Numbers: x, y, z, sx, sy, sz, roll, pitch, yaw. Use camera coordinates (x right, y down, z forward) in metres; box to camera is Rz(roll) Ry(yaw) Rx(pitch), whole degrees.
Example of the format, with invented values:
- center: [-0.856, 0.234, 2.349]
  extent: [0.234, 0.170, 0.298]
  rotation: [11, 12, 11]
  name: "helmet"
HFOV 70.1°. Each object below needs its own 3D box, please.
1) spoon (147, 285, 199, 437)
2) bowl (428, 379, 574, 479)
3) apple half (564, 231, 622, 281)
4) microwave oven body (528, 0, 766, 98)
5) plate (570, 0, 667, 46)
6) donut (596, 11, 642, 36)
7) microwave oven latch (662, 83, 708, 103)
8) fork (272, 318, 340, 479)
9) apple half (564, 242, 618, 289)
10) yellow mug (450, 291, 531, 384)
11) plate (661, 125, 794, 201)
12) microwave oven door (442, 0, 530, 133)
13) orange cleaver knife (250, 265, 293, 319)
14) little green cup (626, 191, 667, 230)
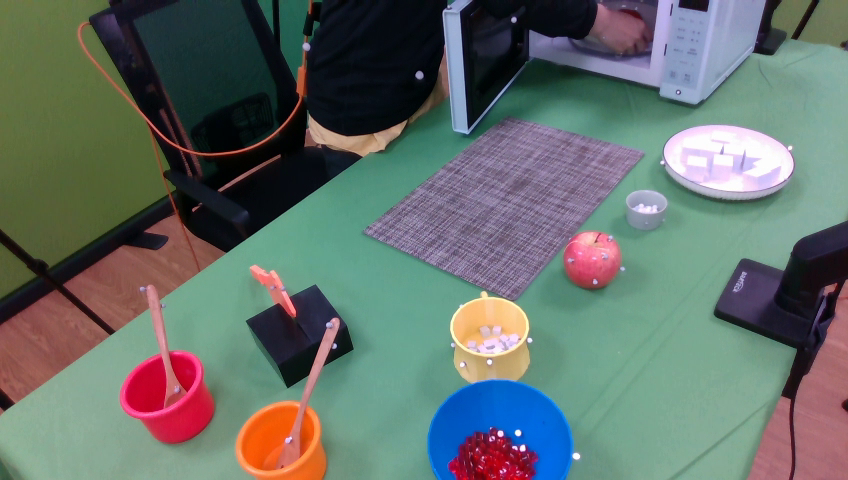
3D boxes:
- center: [-0.319, 0.148, 0.754]
  extent: [0.042, 0.021, 0.193]
  rotation: [-14, 85, -12]
  name: "spoon"
- center: [0.082, 0.232, 0.644]
  extent: [0.151, 0.077, 0.150]
  rotation: [-4, 40, 4]
  name: "bowl"
- center: [0.248, 0.021, 0.874]
  extent: [0.080, 0.075, 0.053]
  rotation: [13, 40, 29]
  name: "apple half"
- center: [0.472, -0.513, 1.317]
  extent: [0.438, 0.261, 0.327]
  rotation: [26, 51, 34]
  name: "microwave oven body"
- center: [0.436, -0.486, 1.365]
  extent: [0.209, 0.038, 0.208]
  rotation: [-6, 40, 6]
  name: "plate"
- center: [0.434, -0.479, 1.346]
  extent: [0.099, 0.048, 0.098]
  rotation: [-7, 35, 5]
  name: "donut"
- center: [0.519, -0.297, 1.204]
  extent: [0.078, 0.029, 0.030]
  rotation: [29, 53, 36]
  name: "microwave oven latch"
- center: [-0.131, 0.186, 0.676]
  extent: [0.028, 0.019, 0.207]
  rotation: [17, 90, 28]
  name: "fork"
- center: [0.229, 0.044, 0.848]
  extent: [0.081, 0.081, 0.033]
  rotation: [16, 41, 26]
  name: "apple half"
- center: [0.085, 0.120, 0.786]
  extent: [0.100, 0.064, 0.130]
  rotation: [-7, 39, 1]
  name: "yellow mug"
- center: [0.514, -0.128, 1.035]
  extent: [0.207, 0.039, 0.206]
  rotation: [-4, 40, 4]
  name: "plate"
- center: [0.139, -0.414, 1.243]
  extent: [0.039, 0.245, 0.356]
  rotation: [15, 45, 24]
  name: "microwave oven door"
- center: [-0.221, 0.073, 0.876]
  extent: [0.012, 0.077, 0.210]
  rotation: [-24, 13, -22]
  name: "orange cleaver knife"
- center: [0.352, -0.046, 0.963]
  extent: [0.061, 0.039, 0.061]
  rotation: [-4, 40, 4]
  name: "little green cup"
